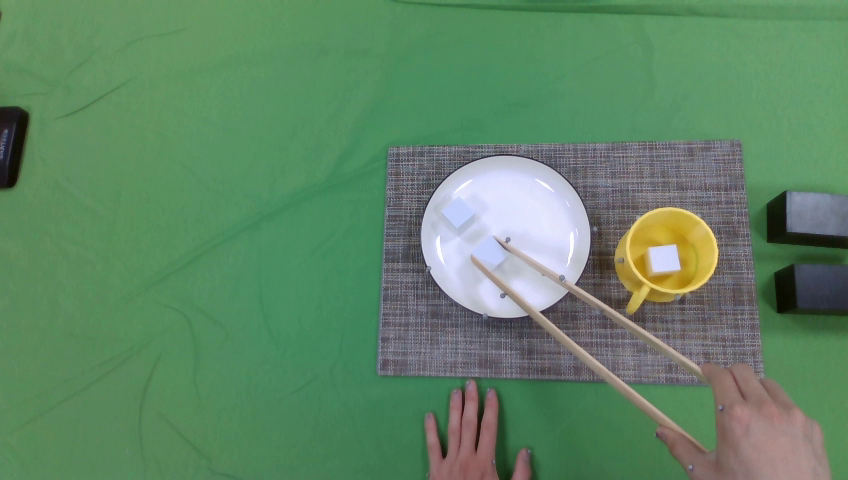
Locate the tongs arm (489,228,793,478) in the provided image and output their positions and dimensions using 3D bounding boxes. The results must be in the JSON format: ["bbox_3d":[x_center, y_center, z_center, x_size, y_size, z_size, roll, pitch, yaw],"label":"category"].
[{"bbox_3d":[0.182,0.086,0.603,0.050,0.027,0.380,-45,46,-11],"label":"tongs arm"}]

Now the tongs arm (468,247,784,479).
[{"bbox_3d":[0.164,0.103,0.600,0.028,0.028,0.383,-39,45,-11],"label":"tongs arm"}]

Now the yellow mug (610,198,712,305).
[{"bbox_3d":[0.266,0.020,0.707,0.099,0.064,0.130,32,82,11],"label":"yellow mug"}]

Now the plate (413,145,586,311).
[{"bbox_3d":[0.092,-0.014,0.747,0.207,0.039,0.206,-1,77,5],"label":"plate"}]
